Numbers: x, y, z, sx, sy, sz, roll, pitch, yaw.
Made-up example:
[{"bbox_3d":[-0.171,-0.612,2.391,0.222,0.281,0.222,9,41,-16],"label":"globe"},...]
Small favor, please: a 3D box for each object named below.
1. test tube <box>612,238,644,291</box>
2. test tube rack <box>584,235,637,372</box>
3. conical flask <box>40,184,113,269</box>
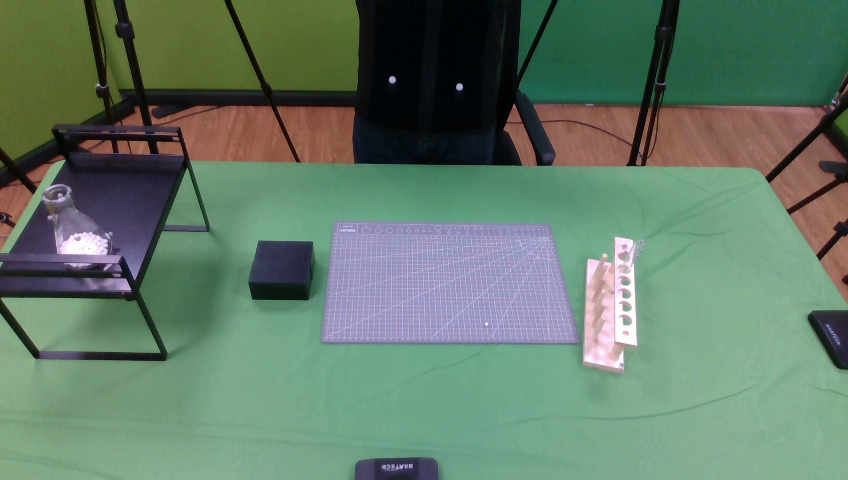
[{"bbox_3d":[0.355,0.046,1.061,0.017,0.151,0.017,1,54,-1],"label":"test tube"},{"bbox_3d":[0.329,0.103,1.073,0.067,0.085,0.241,11,47,7],"label":"test tube rack"},{"bbox_3d":[-0.501,-0.022,0.861,0.075,0.122,0.075,1,46,-1],"label":"conical flask"}]
